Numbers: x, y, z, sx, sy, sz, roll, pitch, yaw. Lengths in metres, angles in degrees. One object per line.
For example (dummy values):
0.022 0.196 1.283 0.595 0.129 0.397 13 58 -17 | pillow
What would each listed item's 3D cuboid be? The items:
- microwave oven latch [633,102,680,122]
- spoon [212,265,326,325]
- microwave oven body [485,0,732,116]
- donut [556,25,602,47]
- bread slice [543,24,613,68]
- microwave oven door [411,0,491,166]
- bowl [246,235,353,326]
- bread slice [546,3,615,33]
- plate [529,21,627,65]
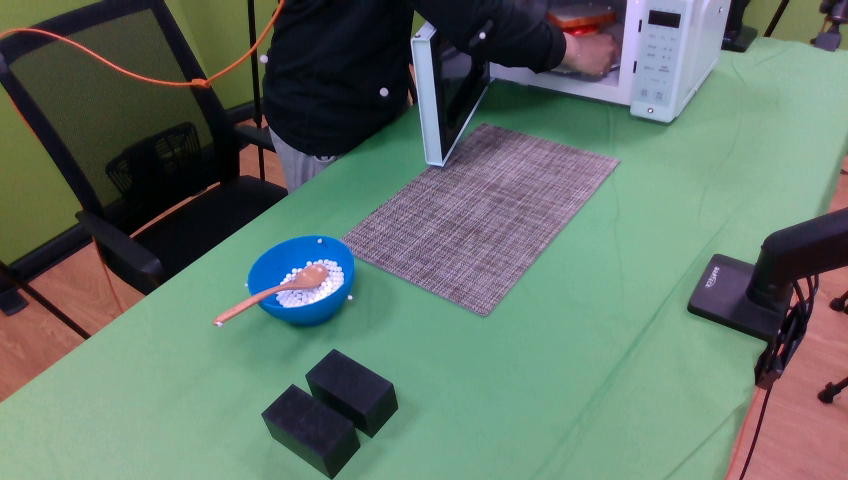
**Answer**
0.443 -0.249 1.157 0.078 0.029 0.030 21 49 30 | microwave oven latch
-0.207 0.072 0.822 0.041 0.021 0.195 27 29 27 | spoon
0.377 -0.463 1.267 0.438 0.261 0.327 21 49 30 | microwave oven body
0.331 -0.449 1.293 0.099 0.048 0.098 -6 42 6 | donut
0.340 -0.431 1.318 0.134 0.018 0.106 -25 52 0 | bread slice
0.063 -0.341 1.164 0.039 0.245 0.355 9 43 18 | microwave oven door
-0.170 0.070 0.868 0.151 0.077 0.150 -4 41 4 | bowl
0.334 -0.475 1.281 0.131 0.019 0.104 -11 39 -1 | bread slice
0.332 -0.430 1.317 0.207 0.039 0.206 -4 41 4 | plate
